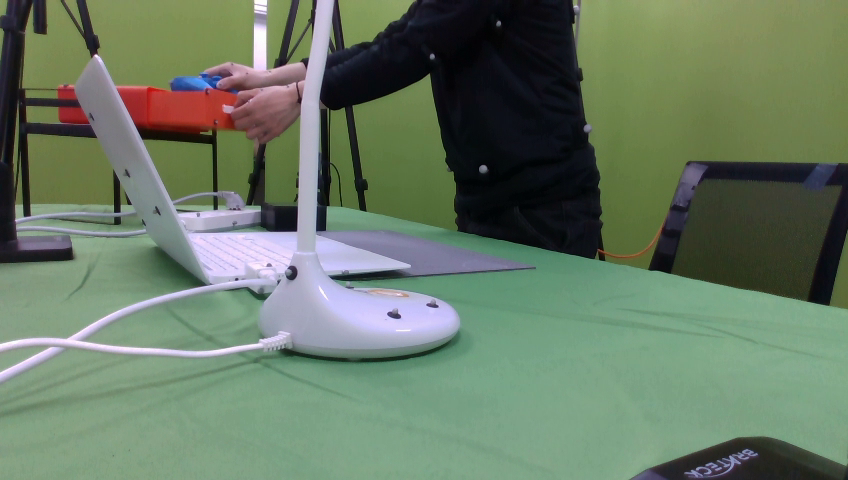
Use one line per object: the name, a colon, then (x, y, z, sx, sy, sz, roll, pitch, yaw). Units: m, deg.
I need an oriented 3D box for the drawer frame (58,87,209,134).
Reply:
drawer frame: (-0.593, -0.269, 1.261, 0.213, 0.082, 0.202, 4, 8, 14)

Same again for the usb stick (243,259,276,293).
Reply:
usb stick: (-0.166, 0.035, 0.604, 0.021, 0.027, 0.059, -8, 8, -28)

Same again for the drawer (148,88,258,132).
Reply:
drawer: (-0.480, -0.261, 1.236, 0.211, 0.073, 0.195, 2, 8, 13)

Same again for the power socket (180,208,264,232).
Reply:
power socket: (-0.381, -0.038, 1.128, 0.072, 0.032, 0.227, 4, 8, 16)

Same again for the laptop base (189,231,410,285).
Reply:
laptop base: (-0.204, 0.019, 0.807, 0.237, 0.023, 0.352, 0, 7, -33)

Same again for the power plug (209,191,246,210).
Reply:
power plug: (-0.388, -0.071, 1.204, 0.072, 0.052, 0.035, 3, 6, 26)

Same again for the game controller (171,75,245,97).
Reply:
game controller: (-0.436, -0.303, 1.223, 0.097, 0.051, 0.155, -2, 6, 13)

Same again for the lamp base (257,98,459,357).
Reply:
lamp base: (-0.055, -0.014, 0.463, 0.160, 0.180, 0.180, 6, 11, 27)

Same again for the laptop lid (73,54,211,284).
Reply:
laptop lid: (-0.341, -0.079, 0.704, 0.013, 0.242, 0.355, -30, 23, -26)
